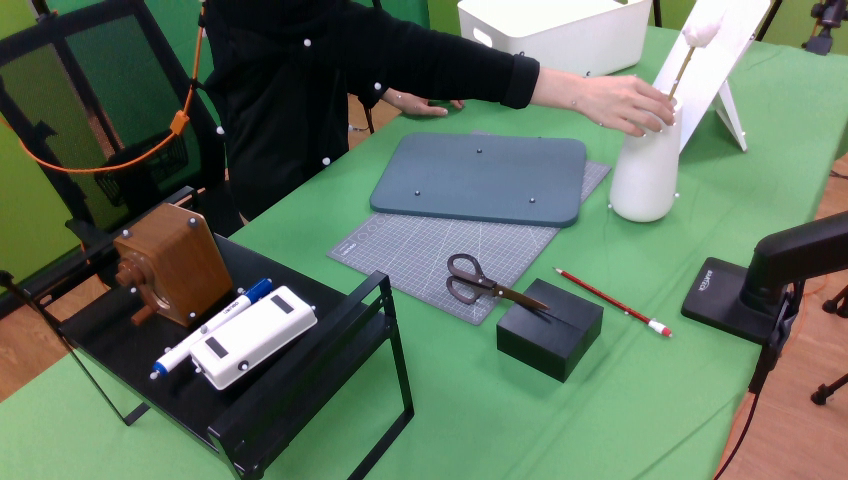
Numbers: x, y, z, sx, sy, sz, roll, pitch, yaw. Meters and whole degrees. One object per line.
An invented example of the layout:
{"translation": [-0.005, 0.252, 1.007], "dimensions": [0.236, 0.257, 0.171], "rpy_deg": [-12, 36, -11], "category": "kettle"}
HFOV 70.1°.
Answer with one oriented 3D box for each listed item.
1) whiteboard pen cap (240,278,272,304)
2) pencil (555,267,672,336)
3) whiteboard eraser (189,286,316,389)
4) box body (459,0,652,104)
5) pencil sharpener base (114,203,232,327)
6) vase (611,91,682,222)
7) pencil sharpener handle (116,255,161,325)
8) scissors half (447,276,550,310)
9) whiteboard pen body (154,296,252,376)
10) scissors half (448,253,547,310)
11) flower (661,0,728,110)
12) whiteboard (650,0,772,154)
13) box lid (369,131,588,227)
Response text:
{"translation": [-0.183, 0.057, 0.658], "dimensions": [0.018, 0.018, 0.033], "rpy_deg": [19, 44, 28], "category": "whiteboard pen cap"}
{"translation": [0.261, 0.082, 0.851], "dimensions": [0.012, 0.012, 0.192], "rpy_deg": [-33, 45, -27], "category": "pencil"}
{"translation": [-0.166, 0.096, 0.593], "dimensions": [0.113, 0.042, 0.055], "rpy_deg": [-36, 47, -29], "category": "whiteboard eraser"}
{"translation": [0.291, -0.465, 1.371], "dimensions": [0.365, 0.161, 0.252], "rpy_deg": [-22, 42, -16], "category": "box body"}
{"translation": [-0.262, 0.029, 0.635], "dimensions": [0.061, 0.107, 0.077], "rpy_deg": [18, 47, 26], "category": "pencil sharpener base"}
{"translation": [0.348, -0.125, 0.935], "dimensions": [0.098, 0.201, 0.097], "rpy_deg": [-3, 40, 3], "category": "vase"}
{"translation": [-0.286, 0.050, 0.594], "dimensions": [0.035, 0.068, 0.031], "rpy_deg": [7, 41, 35], "category": "pencil sharpener handle"}
{"translation": [0.098, 0.077, 0.827], "dimensions": [0.174, 0.040, 0.013], "rpy_deg": [6, 14, 44], "category": "scissors half"}
{"translation": [-0.214, 0.089, 0.619], "dimensions": [0.017, 0.017, 0.141], "rpy_deg": [19, 42, 28], "category": "whiteboard pen body"}
{"translation": [0.098, 0.058, 0.821], "dimensions": [0.173, 0.040, 0.013], "rpy_deg": [27, 33, 37], "category": "scissors half"}
{"translation": [0.337, -0.176, 0.867], "dimensions": [0.038, 0.362, 0.044], "rpy_deg": [29, 56, 17], "category": "flower"}
{"translation": [0.543, -0.298, 1.076], "dimensions": [0.144, 0.305, 0.216], "rpy_deg": [12, 40, -7], "category": "whiteboard"}
{"translation": [0.107, -0.120, 1.107], "dimensions": [0.370, 0.015, 0.263], "rpy_deg": [5, 42, 14], "category": "box lid"}
